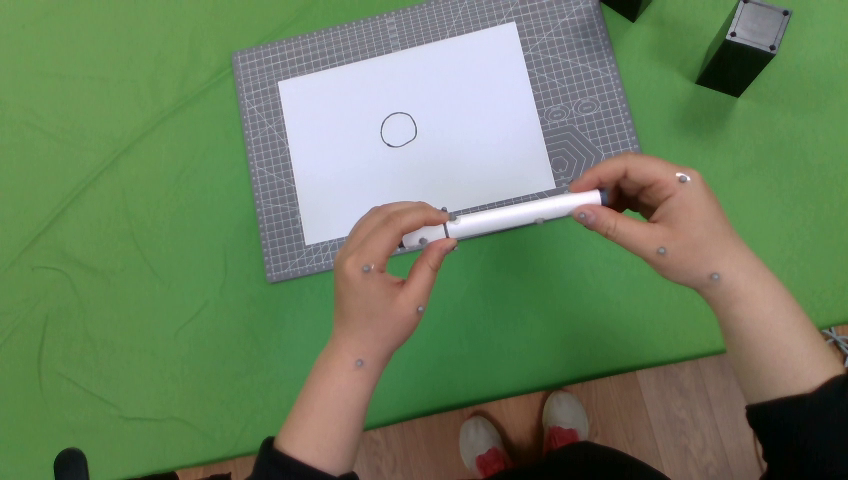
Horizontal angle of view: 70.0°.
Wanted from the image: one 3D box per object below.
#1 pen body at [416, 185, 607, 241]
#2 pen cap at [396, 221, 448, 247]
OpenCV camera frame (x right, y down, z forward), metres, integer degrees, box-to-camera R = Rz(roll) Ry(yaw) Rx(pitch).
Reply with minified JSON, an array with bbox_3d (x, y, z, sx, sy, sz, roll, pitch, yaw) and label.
[{"bbox_3d":[0.060,-0.016,0.435,0.144,0.017,0.017,-13,79,0],"label":"pen body"},{"bbox_3d":[-0.001,-0.004,0.441,0.038,0.017,0.017,-8,79,-8],"label":"pen cap"}]
